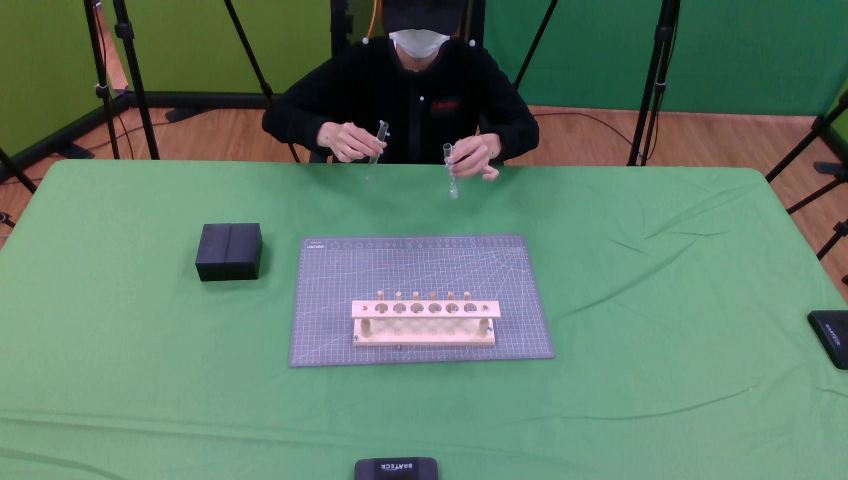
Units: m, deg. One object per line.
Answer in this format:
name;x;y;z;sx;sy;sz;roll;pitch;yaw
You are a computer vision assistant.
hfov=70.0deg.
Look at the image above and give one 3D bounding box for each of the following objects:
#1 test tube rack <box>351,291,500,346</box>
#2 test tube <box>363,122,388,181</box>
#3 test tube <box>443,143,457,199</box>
test tube rack;0.000;0.129;1.026;0.242;0.085;0.066;1;46;-4
test tube;-0.097;-0.170;1.188;0.017;0.151;0.017;11;48;-13
test tube;0.050;-0.126;1.132;0.017;0.151;0.017;-4;55;6
